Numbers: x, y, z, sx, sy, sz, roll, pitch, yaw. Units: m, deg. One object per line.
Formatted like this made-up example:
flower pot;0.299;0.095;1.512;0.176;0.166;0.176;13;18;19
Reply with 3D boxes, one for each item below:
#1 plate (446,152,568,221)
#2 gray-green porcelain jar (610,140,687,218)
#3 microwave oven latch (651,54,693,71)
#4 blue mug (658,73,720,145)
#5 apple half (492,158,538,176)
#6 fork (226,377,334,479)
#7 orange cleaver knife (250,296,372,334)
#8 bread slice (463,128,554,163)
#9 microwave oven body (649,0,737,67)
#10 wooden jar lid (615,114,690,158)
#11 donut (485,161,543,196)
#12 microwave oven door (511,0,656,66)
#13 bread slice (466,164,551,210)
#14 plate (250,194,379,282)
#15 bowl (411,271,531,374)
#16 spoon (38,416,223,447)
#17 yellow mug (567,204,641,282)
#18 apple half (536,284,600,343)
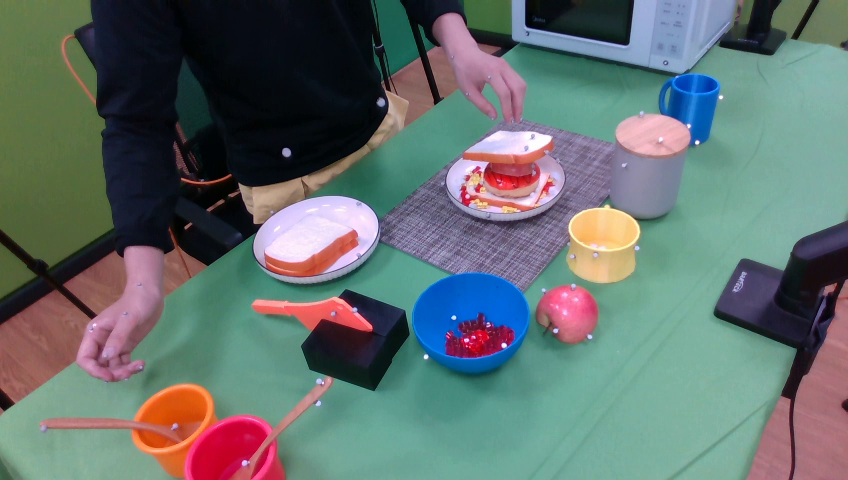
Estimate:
plate;0.142;-0.097;1.045;0.207;0.039;0.206;-4;40;4
gray-green porcelain jar;0.354;-0.106;0.964;0.106;0.127;0.105;-4;41;4
microwave oven latch;0.531;-0.386;1.301;0.078;0.029;0.030;26;51;33
blue mug;0.483;-0.250;1.127;0.082;0.106;0.115;-26;44;-19
apple half;0.149;-0.140;0.996;0.081;0.033;0.081;0;39;0
fork;-0.163;0.216;0.647;0.207;0.019;0.028;-49;41;16
orange cleaver knife;-0.158;0.103;0.828;0.210;0.078;0.012;-4;43;39
bread slice;0.143;-0.154;0.974;0.130;0.019;0.105;14;37;40
microwave oven body;0.475;-0.602;1.411;0.438;0.261;0.327;23;50;32
wooden jar lid;0.347;-0.155;0.923;0.108;0.021;0.108;-3;44;4
donut;0.151;-0.112;1.019;0.099;0.048;0.098;-4;40;4
microwave oven door;0.350;-0.539;1.348;0.353;0.245;0.039;24;50;31
bread slice;0.141;-0.093;1.041;0.133;0.018;0.107;8;42;20
plate;-0.174;-0.001;0.984;0.209;0.038;0.208;-3;40;3
bowl;0.062;0.119;0.780;0.151;0.077;0.150;-4;40;4
spoon;-0.320;0.209;0.677;0.021;0.195;0.041;-53;41;16
yellow mug;0.268;-0.005;0.904;0.099;0.064;0.130;6;42;15
apple half;0.196;0.091;0.815;0.075;0.053;0.080;-22;42;-20
